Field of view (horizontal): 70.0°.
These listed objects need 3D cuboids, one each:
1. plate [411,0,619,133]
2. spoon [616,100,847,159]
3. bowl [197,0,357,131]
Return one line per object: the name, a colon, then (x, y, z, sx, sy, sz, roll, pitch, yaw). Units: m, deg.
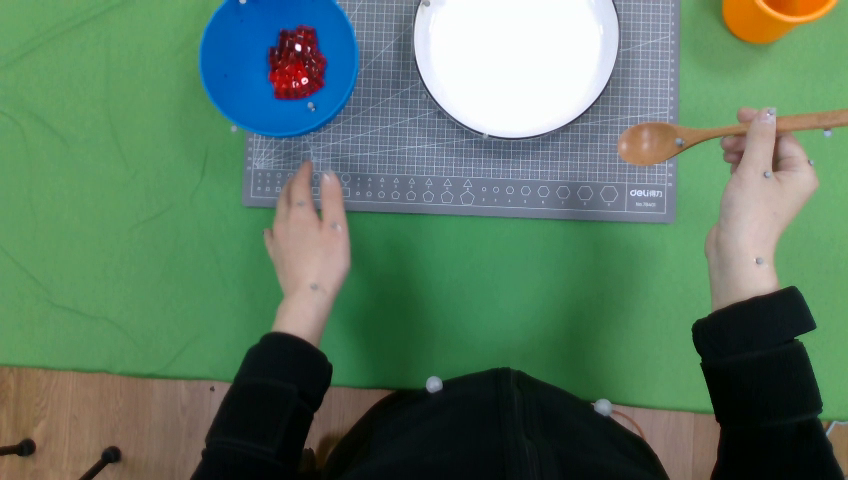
plate: (0.091, -0.210, 0.618, 0.209, 0.038, 0.209, 0, 87, 2)
spoon: (0.246, -0.092, 0.489, 0.022, 0.192, 0.041, 14, 81, -40)
bowl: (-0.136, -0.175, 0.601, 0.151, 0.077, 0.151, 0, 88, 1)
